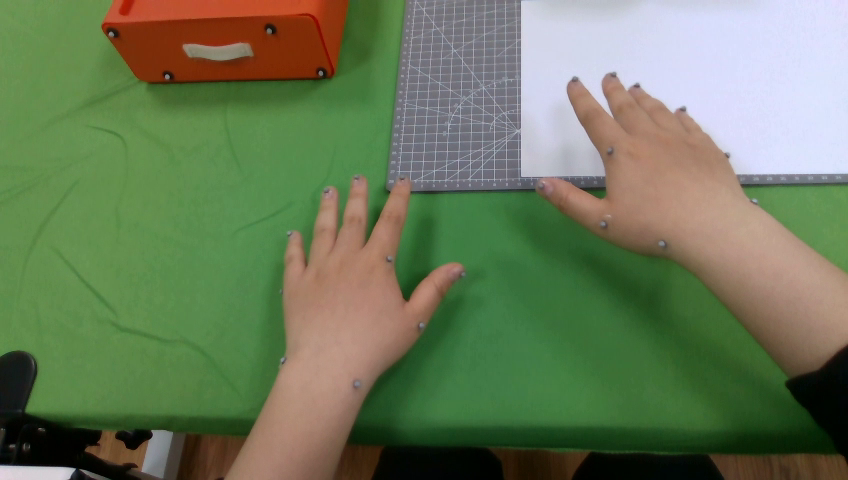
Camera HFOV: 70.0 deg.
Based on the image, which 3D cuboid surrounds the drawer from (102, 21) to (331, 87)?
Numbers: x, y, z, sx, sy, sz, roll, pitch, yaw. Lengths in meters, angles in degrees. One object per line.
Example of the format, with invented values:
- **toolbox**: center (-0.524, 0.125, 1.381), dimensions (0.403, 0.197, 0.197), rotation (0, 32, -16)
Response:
- **drawer**: center (-0.179, -0.252, 0.601), dimensions (0.194, 0.074, 0.210), rotation (0, 59, 8)

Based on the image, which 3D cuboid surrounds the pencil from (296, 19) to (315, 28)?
- **pencil**: center (-0.175, -0.240, 0.628), dimensions (0.192, 0.012, 0.012), rotation (26, 66, 26)

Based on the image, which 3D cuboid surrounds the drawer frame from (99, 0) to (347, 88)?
- **drawer frame**: center (-0.180, -0.254, 0.601), dimensions (0.201, 0.083, 0.211), rotation (-1, 59, 8)
